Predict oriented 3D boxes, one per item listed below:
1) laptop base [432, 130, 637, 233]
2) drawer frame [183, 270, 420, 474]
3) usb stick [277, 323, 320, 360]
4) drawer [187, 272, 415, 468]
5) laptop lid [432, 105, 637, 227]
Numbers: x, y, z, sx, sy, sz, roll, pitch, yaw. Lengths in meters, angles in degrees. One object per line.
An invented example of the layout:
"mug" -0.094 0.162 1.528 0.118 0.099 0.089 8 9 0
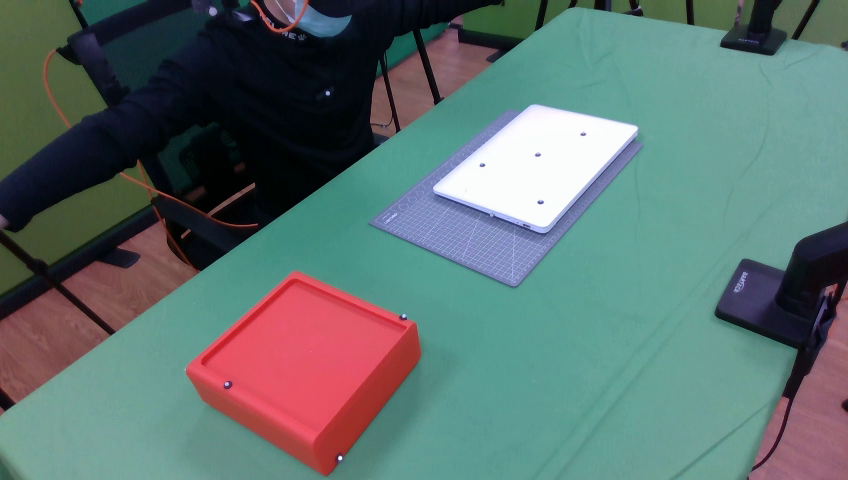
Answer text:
"laptop base" 0.210 -0.142 1.111 0.233 0.023 0.355 21 47 33
"drawer frame" -0.148 0.153 0.767 0.212 0.083 0.202 19 46 27
"usb stick" -0.172 0.139 0.816 0.059 0.027 0.021 -30 41 -23
"drawer" -0.150 0.154 0.768 0.210 0.073 0.195 20 46 28
"laptop lid" 0.207 -0.152 1.105 0.239 0.013 0.358 23 49 34
